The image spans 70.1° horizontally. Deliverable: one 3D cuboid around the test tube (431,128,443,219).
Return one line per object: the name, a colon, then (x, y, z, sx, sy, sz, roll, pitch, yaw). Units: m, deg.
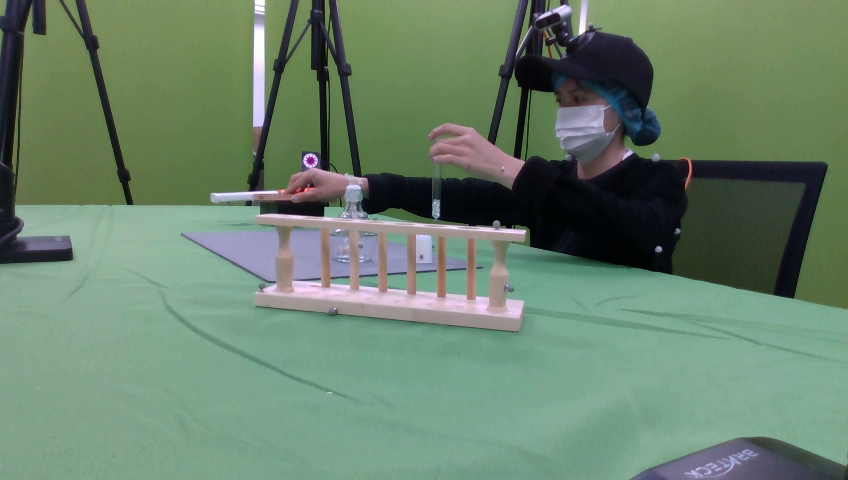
test tube: (0.021, -0.109, 1.003, 0.017, 0.150, 0.017, 1, 14, 0)

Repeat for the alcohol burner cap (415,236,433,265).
alcohol burner cap: (-0.004, 0.011, 0.835, 0.034, 0.048, 0.034, 2, 7, 0)

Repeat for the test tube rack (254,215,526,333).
test tube rack: (-0.030, 0.025, 0.558, 0.242, 0.085, 0.067, 4, 7, 12)

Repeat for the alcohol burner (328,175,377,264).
alcohol burner: (-0.098, -0.028, 0.819, 0.078, 0.119, 0.078, 1, 8, 0)

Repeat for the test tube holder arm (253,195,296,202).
test tube holder arm: (-0.294, -0.082, 1.194, 0.088, 0.015, 0.010, -4, 7, -38)

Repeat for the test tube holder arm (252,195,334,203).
test tube holder arm: (-0.262, -0.085, 1.227, 0.179, 0.015, 0.013, -4, 7, -39)

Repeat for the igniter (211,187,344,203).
igniter: (-0.299, -0.094, 1.265, 0.278, 0.025, 0.057, -6, 14, -33)
